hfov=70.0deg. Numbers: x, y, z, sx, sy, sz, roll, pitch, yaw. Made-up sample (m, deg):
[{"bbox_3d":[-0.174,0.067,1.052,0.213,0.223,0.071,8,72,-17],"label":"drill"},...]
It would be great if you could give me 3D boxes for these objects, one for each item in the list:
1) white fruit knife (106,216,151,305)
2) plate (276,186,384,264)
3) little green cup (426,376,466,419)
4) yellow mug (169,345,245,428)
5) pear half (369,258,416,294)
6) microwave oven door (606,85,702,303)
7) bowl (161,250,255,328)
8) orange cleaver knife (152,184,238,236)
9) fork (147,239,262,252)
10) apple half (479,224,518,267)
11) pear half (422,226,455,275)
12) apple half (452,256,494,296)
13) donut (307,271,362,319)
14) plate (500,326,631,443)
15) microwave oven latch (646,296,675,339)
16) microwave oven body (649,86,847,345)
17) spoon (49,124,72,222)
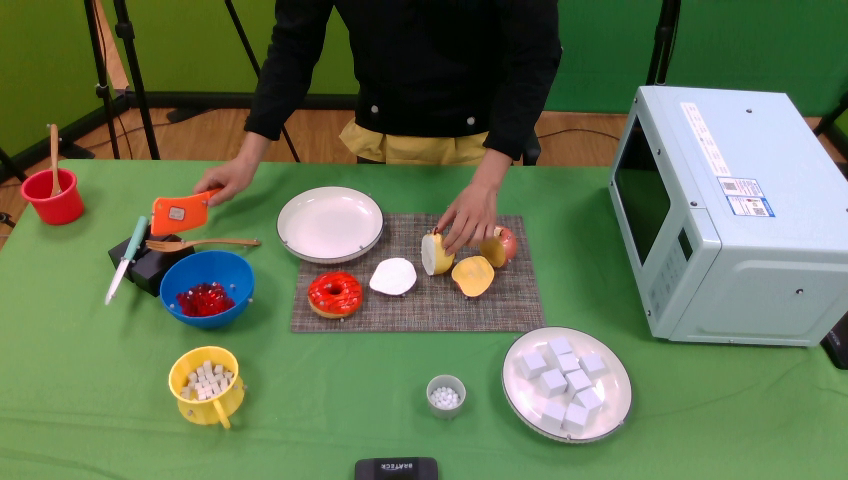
[{"bbox_3d":[-0.519,0.032,1.066,0.027,0.016,0.206,-18,45,19],"label":"white fruit knife"},{"bbox_3d":[-0.184,-0.027,1.194,0.209,0.038,0.208,2,46,-2],"label":"plate"},{"bbox_3d":[0.033,0.248,0.950,0.061,0.039,0.061,2,46,-2],"label":"little green cup"},{"bbox_3d":[-0.322,0.230,0.922,0.100,0.064,0.130,-24,53,-25],"label":"yellow mug"},{"bbox_3d":[-0.058,0.072,1.112,0.088,0.031,0.070,-23,64,-12],"label":"pear half"},{"bbox_3d":[0.422,-0.094,1.140,0.039,0.245,0.353,2,46,-1],"label":"microwave oven door"},{"bbox_3d":[-0.362,0.097,1.040,0.151,0.077,0.150,2,45,-2],"label":"bowl"},{"bbox_3d":[-0.434,-0.061,1.159,0.012,0.077,0.211,12,21,24],"label":"orange cleaver knife"},{"bbox_3d":[-0.399,0.007,1.118,0.208,0.019,0.028,-4,36,-36],"label":"fork"},{"bbox_3d":[0.148,0.008,1.160,0.053,0.075,0.080,-24,48,-30],"label":"apple half"},{"bbox_3d":[0.031,0.012,1.123,0.056,0.110,0.076,-16,52,-20],"label":"pear half"},{"bbox_3d":[0.095,0.070,1.120,0.081,0.033,0.081,-7,62,14],"label":"apple half"},{"bbox_3d":[-0.157,0.097,1.073,0.099,0.048,0.098,4,45,-4],"label":"donut"},{"bbox_3d":[0.224,0.233,0.978,0.208,0.039,0.206,2,46,-2],"label":"plate"},{"bbox_3d":[0.412,0.134,1.061,0.030,0.029,0.078,4,45,1],"label":"microwave oven latch"},{"bbox_3d":[0.567,-0.053,1.118,0.326,0.261,0.439,2,45,-1],"label":"microwave oven body"},{"bbox_3d":[-0.717,-0.132,1.188,0.041,0.021,0.193,-3,90,-7],"label":"spoon"}]
